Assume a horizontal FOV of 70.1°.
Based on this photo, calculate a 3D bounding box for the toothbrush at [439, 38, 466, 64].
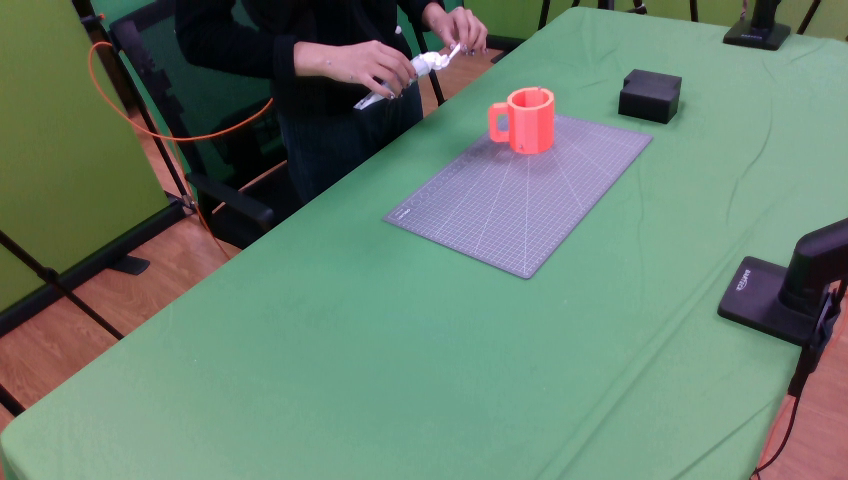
[{"bbox_3d":[0.058,-0.354,1.128,0.016,0.014,0.182,14,31,9],"label":"toothbrush"}]

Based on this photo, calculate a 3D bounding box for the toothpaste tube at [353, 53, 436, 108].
[{"bbox_3d":[-0.049,-0.274,1.042,0.165,0.035,0.054,-34,20,-10],"label":"toothpaste tube"}]

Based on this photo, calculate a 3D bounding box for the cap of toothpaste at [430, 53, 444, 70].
[{"bbox_3d":[0.020,-0.320,1.078,0.037,0.011,0.037,10,67,-23],"label":"cap of toothpaste"}]

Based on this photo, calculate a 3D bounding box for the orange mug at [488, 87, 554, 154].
[{"bbox_3d":[0.185,-0.227,1.151,0.126,0.101,0.083,1,41,5],"label":"orange mug"}]
